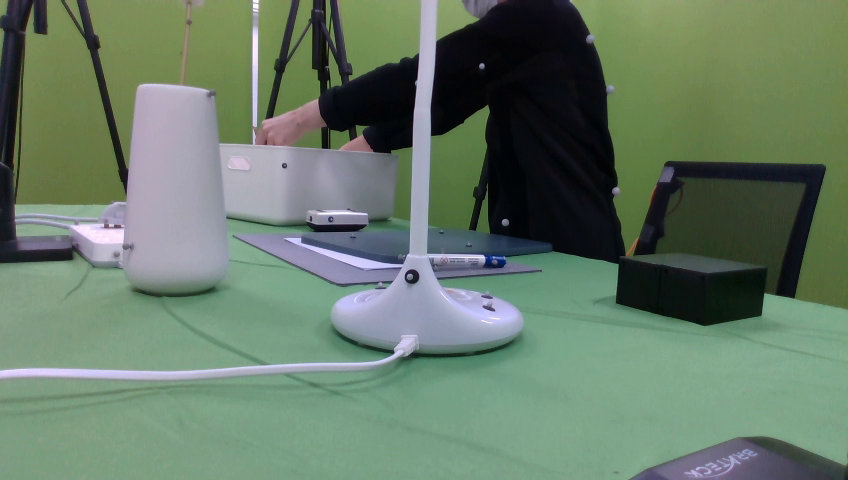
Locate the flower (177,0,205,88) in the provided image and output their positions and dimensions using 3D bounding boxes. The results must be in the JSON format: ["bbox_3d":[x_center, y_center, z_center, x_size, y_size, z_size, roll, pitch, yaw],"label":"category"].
[{"bbox_3d":[-0.243,-0.131,0.609,0.044,0.361,0.038,-5,-12,11],"label":"flower"}]

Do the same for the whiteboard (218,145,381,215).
[{"bbox_3d":[-0.282,-0.139,1.378,0.216,0.143,0.307,2,7,41],"label":"whiteboard"}]

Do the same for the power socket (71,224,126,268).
[{"bbox_3d":[-0.409,0.004,0.793,0.072,0.032,0.225,-2,8,-37],"label":"power socket"}]

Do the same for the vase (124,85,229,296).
[{"bbox_3d":[-0.244,-0.047,0.598,0.098,0.200,0.098,3,8,0],"label":"vase"}]

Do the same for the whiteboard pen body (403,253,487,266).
[{"bbox_3d":[0.039,0.026,0.785,0.141,0.017,0.017,2,7,-24],"label":"whiteboard pen body"}]

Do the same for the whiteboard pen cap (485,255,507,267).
[{"bbox_3d":[0.093,0.028,0.809,0.033,0.018,0.018,1,7,-24],"label":"whiteboard pen cap"}]

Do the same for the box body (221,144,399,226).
[{"bbox_3d":[-0.264,-0.129,1.380,0.253,0.160,0.366,8,9,39],"label":"box body"}]

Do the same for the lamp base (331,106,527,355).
[{"bbox_3d":[0.006,-0.012,0.478,0.161,0.180,0.179,2,10,2],"label":"lamp base"}]

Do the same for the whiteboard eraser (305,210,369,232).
[{"bbox_3d":[-0.168,-0.038,1.172,0.113,0.042,0.055,-3,7,-35],"label":"whiteboard eraser"}]

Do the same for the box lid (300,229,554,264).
[{"bbox_3d":[0.011,0.006,0.998,0.374,0.015,0.262,-3,9,-43],"label":"box lid"}]

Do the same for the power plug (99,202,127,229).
[{"bbox_3d":[-0.415,-0.026,0.848,0.073,0.052,0.035,5,5,-28],"label":"power plug"}]
